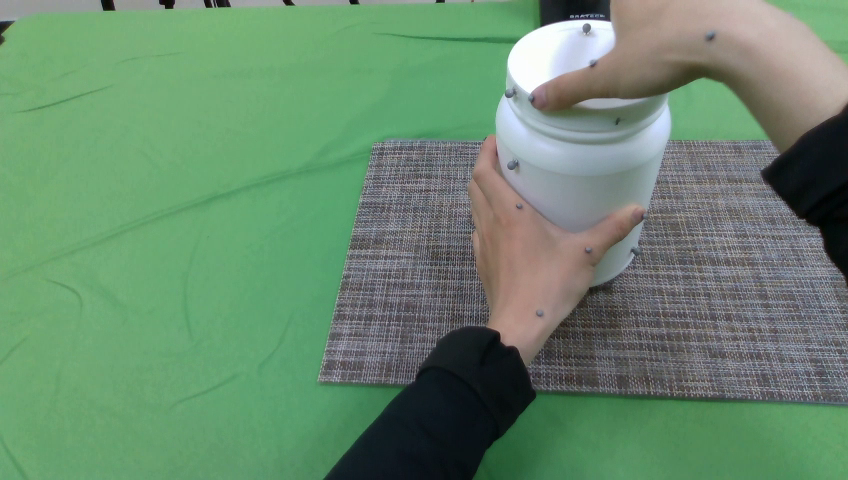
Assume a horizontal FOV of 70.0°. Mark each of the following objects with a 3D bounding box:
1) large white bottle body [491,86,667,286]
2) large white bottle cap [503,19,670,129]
[{"bbox_3d":[0.121,-0.065,0.496,0.130,0.186,0.129,-2,49,3],"label":"large white bottle body"},{"bbox_3d":[0.113,-0.121,0.430,0.115,0.018,0.113,-2,49,3],"label":"large white bottle cap"}]
